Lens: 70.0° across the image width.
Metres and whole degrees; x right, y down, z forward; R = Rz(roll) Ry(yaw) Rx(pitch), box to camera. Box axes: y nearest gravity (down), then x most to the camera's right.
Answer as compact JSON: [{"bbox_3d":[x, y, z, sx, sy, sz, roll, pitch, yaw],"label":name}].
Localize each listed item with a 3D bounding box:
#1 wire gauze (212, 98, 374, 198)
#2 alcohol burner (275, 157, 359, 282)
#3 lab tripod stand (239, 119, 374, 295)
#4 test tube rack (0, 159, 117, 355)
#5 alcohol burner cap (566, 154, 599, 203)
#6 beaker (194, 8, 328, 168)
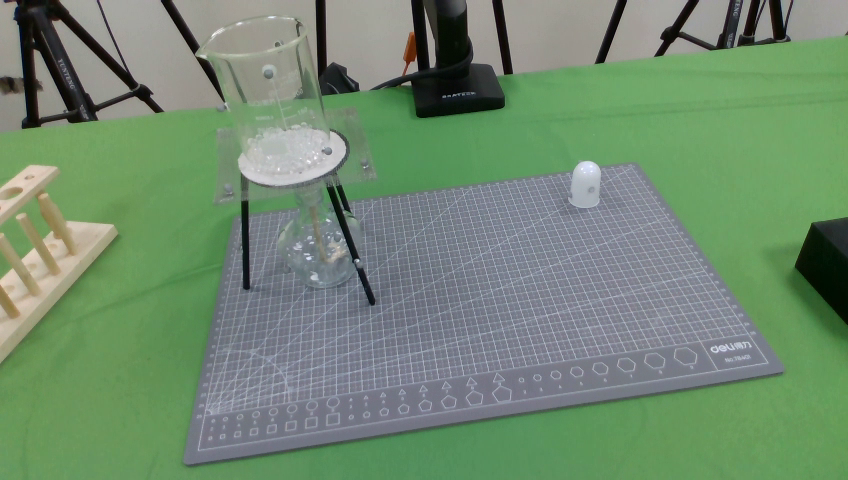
[{"bbox_3d":[-0.110,-0.076,0.493,0.125,0.011,0.120,-14,39,-5],"label":"wire gauze"},{"bbox_3d":[-0.099,-0.021,0.544,0.078,0.120,0.077,-4,39,4],"label":"alcohol burner"},{"bbox_3d":[-0.105,-0.027,0.536,0.148,0.133,0.147,-3,43,4],"label":"lab tripod stand"},{"bbox_3d":[-0.390,0.030,0.544,0.066,0.086,0.240,5,41,12],"label":"test tube rack"},{"bbox_3d":[0.163,-0.065,0.622,0.034,0.048,0.033,-4,40,3],"label":"alcohol burner cap"},{"bbox_3d":[-0.118,-0.112,0.461,0.084,0.101,0.073,-12,41,-6],"label":"beaker"}]
